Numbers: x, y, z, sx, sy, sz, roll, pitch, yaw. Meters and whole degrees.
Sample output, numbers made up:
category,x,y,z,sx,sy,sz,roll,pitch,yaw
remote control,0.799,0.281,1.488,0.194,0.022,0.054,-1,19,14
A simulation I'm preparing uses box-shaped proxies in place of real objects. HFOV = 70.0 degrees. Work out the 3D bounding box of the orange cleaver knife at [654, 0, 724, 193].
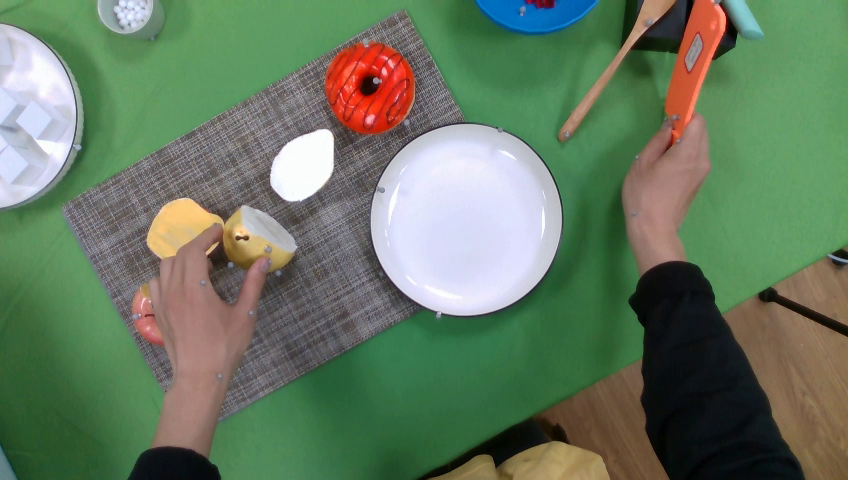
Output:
category,x,y,z,sx,sy,sz,roll,pitch,yaw
orange cleaver knife,0.261,-0.150,0.618,0.012,0.076,0.213,1,126,-1

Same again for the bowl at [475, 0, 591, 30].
category,x,y,z,sx,sy,sz,roll,pitch,yaw
bowl,0.110,-0.285,0.626,0.151,0.077,0.151,0,93,2

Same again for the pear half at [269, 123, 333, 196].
category,x,y,z,sx,sy,sz,roll,pitch,yaw
pear half,-0.128,-0.086,0.663,0.070,0.031,0.088,36,84,13

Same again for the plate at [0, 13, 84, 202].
category,x,y,z,sx,sy,sz,roll,pitch,yaw
plate,-0.477,-0.144,0.675,0.207,0.039,0.207,0,93,2

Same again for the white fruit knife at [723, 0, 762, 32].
category,x,y,z,sx,sy,sz,roll,pitch,yaw
white fruit knife,0.279,-0.298,0.601,0.027,0.016,0.207,-27,90,-26

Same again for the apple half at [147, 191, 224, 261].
category,x,y,z,sx,sy,sz,roll,pitch,yaw
apple half,-0.261,-0.010,0.668,0.081,0.033,0.080,2,69,-6

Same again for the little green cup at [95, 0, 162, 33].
category,x,y,z,sx,sy,sz,roll,pitch,yaw
little green cup,-0.321,-0.258,0.663,0.061,0.038,0.061,0,92,3

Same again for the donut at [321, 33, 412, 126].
category,x,y,z,sx,sy,sz,roll,pitch,yaw
donut,-0.061,-0.172,0.651,0.099,0.048,0.099,0,95,5

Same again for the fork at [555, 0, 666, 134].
category,x,y,z,sx,sy,sz,roll,pitch,yaw
fork,0.198,-0.196,0.622,0.028,0.018,0.208,30,114,-6

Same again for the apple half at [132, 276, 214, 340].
category,x,y,z,sx,sy,sz,roll,pitch,yaw
apple half,-0.275,0.079,0.656,0.081,0.074,0.053,25,97,-3

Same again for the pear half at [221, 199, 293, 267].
category,x,y,z,sx,sy,sz,roll,pitch,yaw
pear half,-0.184,-0.001,0.631,0.076,0.110,0.056,38,94,3

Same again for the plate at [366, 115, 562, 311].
category,x,y,z,sx,sy,sz,roll,pitch,yaw
plate,0.043,-0.029,0.657,0.209,0.038,0.209,0,93,2

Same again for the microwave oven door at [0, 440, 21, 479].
category,x,y,z,sx,sy,sz,roll,pitch,yaw
microwave oven door,-0.492,0.258,0.574,0.039,0.244,0.356,-27,91,3
